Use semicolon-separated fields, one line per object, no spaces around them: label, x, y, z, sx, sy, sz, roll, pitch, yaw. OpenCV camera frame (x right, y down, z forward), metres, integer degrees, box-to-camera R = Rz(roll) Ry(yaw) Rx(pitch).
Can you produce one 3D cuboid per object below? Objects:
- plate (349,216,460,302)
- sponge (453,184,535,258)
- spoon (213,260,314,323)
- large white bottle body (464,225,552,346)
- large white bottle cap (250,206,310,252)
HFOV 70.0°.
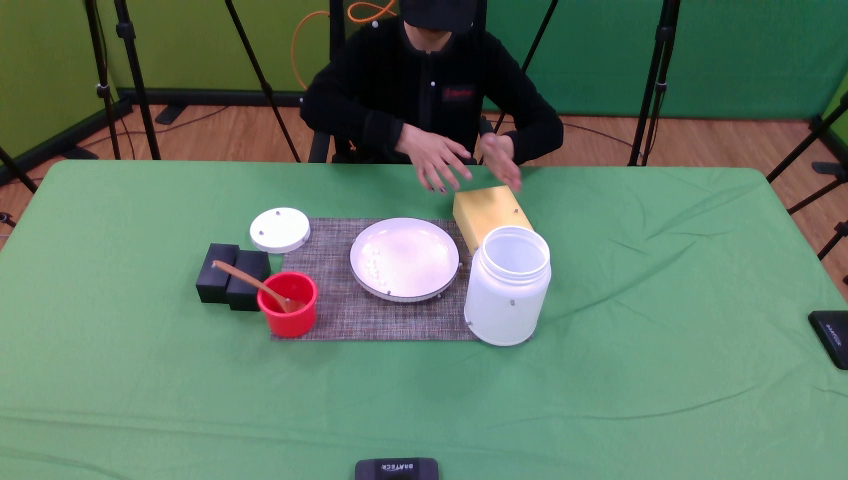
plate;-0.037;0.038;1.142;0.209;0.038;0.208;2;46;-2
sponge;0.144;-0.016;1.192;0.118;0.061;0.205;-11;48;-13
spoon;-0.264;0.083;1.009;0.195;0.021;0.041;40;39;-28
large white bottle body;0.141;0.076;1.017;0.131;0.185;0.130;2;46;-2
large white bottle cap;-0.284;-0.023;1.198;0.115;0.018;0.114;1;46;0
